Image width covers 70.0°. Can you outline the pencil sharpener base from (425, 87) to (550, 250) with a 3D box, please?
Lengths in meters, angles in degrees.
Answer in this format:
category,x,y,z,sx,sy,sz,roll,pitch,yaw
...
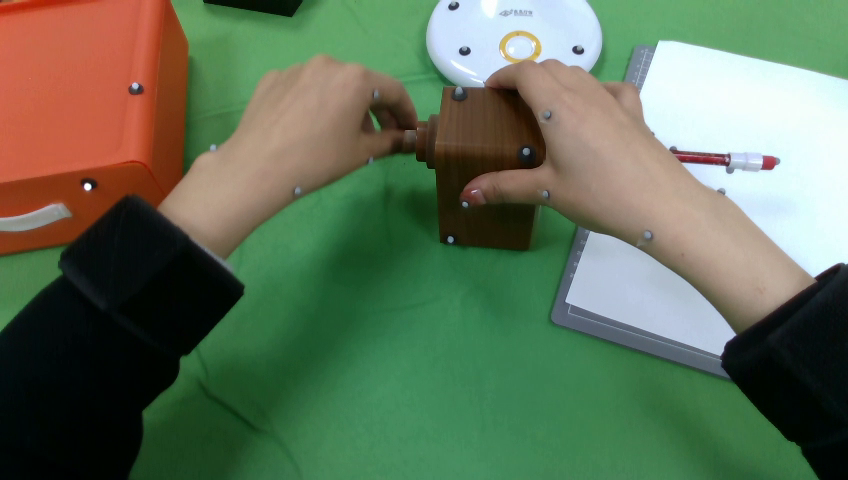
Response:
category,x,y,z,sx,sy,sz,roll,pitch,yaw
pencil sharpener base,0.042,-0.046,0.417,0.076,0.108,0.061,3,57,5

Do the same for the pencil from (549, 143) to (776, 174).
category,x,y,z,sx,sy,sz,roll,pitch,yaw
pencil,0.124,-0.055,0.388,0.194,0.012,0.012,5,56,4

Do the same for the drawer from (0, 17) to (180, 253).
category,x,y,z,sx,sy,sz,roll,pitch,yaw
drawer,-0.298,-0.096,0.482,0.194,0.074,0.209,-10,56,-3

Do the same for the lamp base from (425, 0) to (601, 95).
category,x,y,z,sx,sy,sz,roll,pitch,yaw
lamp base,0.075,-0.240,0.501,0.161,0.182,0.177,-10,54,-4

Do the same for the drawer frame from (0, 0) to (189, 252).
category,x,y,z,sx,sy,sz,roll,pitch,yaw
drawer frame,-0.301,-0.099,0.482,0.202,0.083,0.211,-11,56,-4

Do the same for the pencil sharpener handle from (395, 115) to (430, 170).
category,x,y,z,sx,sy,sz,roll,pitch,yaw
pencil sharpener handle,-0.009,-0.067,0.413,0.030,0.067,0.036,3,100,6
